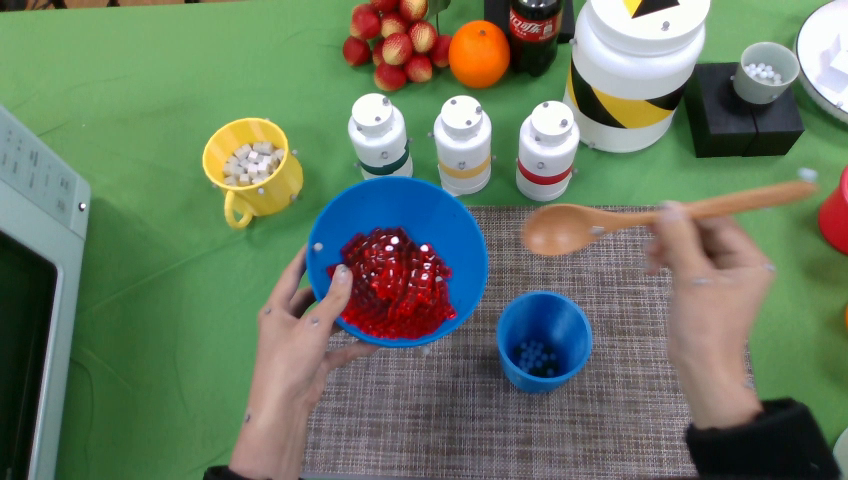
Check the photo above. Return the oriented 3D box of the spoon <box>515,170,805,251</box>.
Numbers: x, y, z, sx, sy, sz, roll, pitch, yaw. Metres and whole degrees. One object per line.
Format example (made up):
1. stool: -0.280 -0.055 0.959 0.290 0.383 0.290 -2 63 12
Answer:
1. spoon: 0.154 -0.021 0.424 0.193 0.021 0.042 -9 105 36

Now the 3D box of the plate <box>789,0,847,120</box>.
1. plate: 0.546 -0.214 0.729 0.209 0.038 0.207 -2 66 4

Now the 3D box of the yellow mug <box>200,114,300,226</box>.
1. yellow mug: -0.209 -0.077 0.716 0.100 0.064 0.130 10 67 9

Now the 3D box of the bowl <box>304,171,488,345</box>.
1. bowl: -0.026 0.024 0.526 0.152 0.077 0.150 3 68 -8

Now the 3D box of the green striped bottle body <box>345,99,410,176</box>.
1. green striped bottle body: -0.052 -0.116 0.690 0.063 0.120 0.062 -2 65 4

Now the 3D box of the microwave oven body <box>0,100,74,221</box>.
1. microwave oven body: -0.553 0.091 0.557 0.326 0.262 0.438 -9 65 1

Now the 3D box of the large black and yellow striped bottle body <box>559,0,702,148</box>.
1. large black and yellow striped bottle body: 0.225 -0.203 0.671 0.131 0.185 0.129 -2 65 5

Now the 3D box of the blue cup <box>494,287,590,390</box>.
1. blue cup: 0.108 0.103 0.582 0.092 0.101 0.092 -1 64 3

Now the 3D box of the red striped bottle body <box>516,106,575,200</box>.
1. red striped bottle body: 0.134 -0.101 0.668 0.063 0.121 0.062 -5 61 9

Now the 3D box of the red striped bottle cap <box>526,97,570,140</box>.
1. red striped bottle cap: 0.128 -0.125 0.621 0.044 0.018 0.044 0 64 0

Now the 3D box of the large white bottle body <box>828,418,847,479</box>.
1. large white bottle body: 0.429 0.180 0.475 0.130 0.186 0.129 -2 64 5

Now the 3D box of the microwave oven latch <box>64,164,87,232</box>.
1. microwave oven latch: -0.420 -0.048 0.716 0.030 0.030 0.078 -7 66 2

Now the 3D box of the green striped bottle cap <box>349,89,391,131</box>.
1. green striped bottle cap: -0.058 -0.138 0.643 0.044 0.020 0.044 -1 64 3

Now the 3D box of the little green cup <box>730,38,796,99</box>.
1. little green cup: 0.375 -0.189 0.676 0.061 0.039 0.061 -1 64 3

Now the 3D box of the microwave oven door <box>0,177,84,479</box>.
1. microwave oven door: -0.404 0.105 0.532 0.039 0.246 0.352 -9 65 2

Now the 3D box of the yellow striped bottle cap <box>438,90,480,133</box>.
1. yellow striped bottle cap: 0.037 -0.134 0.634 0.044 0.019 0.044 -2 66 4

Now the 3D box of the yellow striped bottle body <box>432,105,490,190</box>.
1. yellow striped bottle body: 0.042 -0.112 0.681 0.063 0.121 0.062 -1 65 3

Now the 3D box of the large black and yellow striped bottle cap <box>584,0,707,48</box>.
1. large black and yellow striped bottle cap: 0.217 -0.238 0.595 0.115 0.019 0.114 -2 64 5
